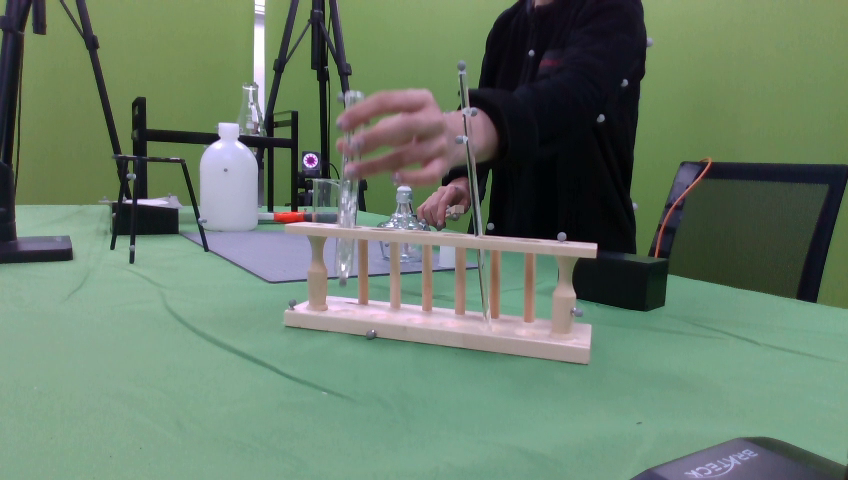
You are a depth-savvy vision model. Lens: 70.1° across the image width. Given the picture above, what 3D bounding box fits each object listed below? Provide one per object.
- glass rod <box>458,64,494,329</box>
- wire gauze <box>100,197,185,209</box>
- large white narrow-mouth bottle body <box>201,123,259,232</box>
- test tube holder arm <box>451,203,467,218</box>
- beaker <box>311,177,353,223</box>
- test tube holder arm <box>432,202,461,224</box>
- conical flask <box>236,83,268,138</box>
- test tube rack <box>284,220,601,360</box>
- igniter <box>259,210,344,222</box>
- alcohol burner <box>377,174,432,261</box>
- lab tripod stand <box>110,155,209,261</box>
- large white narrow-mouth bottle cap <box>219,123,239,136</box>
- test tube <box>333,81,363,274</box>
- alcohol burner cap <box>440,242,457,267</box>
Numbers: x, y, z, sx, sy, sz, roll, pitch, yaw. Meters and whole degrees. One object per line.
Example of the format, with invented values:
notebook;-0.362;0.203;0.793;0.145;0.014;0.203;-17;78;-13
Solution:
glass rod;0.039;-0.029;0.449;0.008;0.199;0.008;-7;9;1
wire gauze;-0.469;-0.062;1.008;0.126;0.011;0.121;-2;8;-25
large white narrow-mouth bottle body;-0.358;-0.116;1.116;0.102;0.194;0.102;2;8;0
test tube holder arm;0.053;-0.049;0.998;0.010;0.015;0.087;10;-7;-12
beaker;-0.168;-0.064;1.106;0.074;0.100;0.083;-2;9;-26
test tube holder arm;0.037;-0.045;1.041;0.013;0.015;0.178;10;-7;-12
conical flask;-0.399;-0.298;1.396;0.075;0.122;0.075;2;8;0
test tube rack;0.013;0.032;0.482;0.242;0.085;0.067;4;7;16
igniter;-0.303;-0.049;1.258;0.278;0.025;0.057;-2;-2;-28
alcohol burner;-0.027;-0.031;0.838;0.078;0.119;0.078;0;6;0
lab tripod stand;-0.361;-0.046;0.806;0.148;0.131;0.148;2;5;0
large white narrow-mouth bottle cap;-0.356;-0.201;1.104;0.038;0.024;0.037;2;8;0
test tube;-0.060;-0.048;0.474;0.017;0.150;0.017;4;7;0
alcohol burner cap;0.038;0.010;0.808;0.034;0.048;0.034;1;11;0
